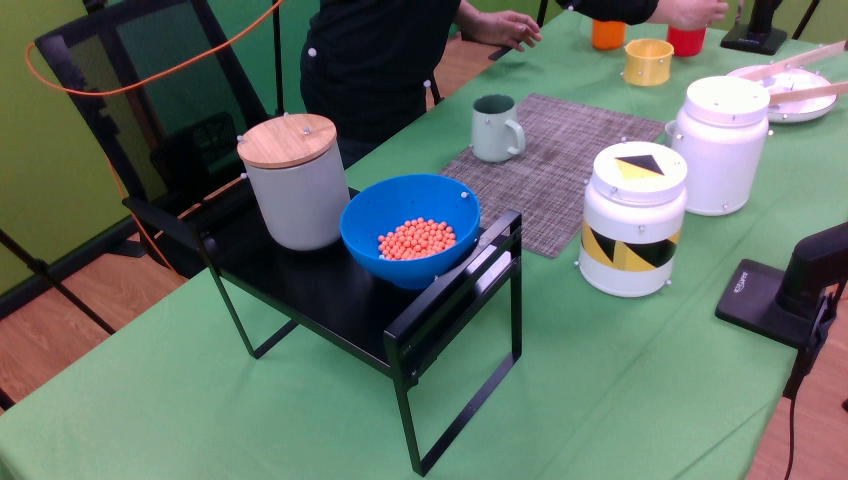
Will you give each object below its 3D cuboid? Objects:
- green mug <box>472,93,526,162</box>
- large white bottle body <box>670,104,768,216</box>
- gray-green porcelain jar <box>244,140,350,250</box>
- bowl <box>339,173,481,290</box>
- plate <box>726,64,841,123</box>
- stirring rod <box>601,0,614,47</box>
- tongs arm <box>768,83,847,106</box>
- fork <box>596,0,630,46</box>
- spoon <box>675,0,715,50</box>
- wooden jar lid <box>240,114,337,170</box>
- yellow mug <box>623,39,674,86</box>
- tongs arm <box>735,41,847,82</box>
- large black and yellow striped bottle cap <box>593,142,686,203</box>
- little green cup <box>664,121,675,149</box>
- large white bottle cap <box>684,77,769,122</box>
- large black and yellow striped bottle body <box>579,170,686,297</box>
[{"bbox_3d":[0.144,-0.202,1.122,0.093,0.105,0.124,-29,45,-23],"label":"green mug"},{"bbox_3d":[0.458,-0.146,0.952,0.130,0.185,0.130,-4,40,4],"label":"large white bottle body"},{"bbox_3d":[-0.144,-0.060,0.714,0.106,0.127,0.105,-4,41,4],"label":"gray-green porcelain jar"},{"bbox_3d":[-0.011,0.001,0.660,0.151,0.077,0.150,-5,41,5],"label":"bowl"},{"bbox_3d":[0.695,-0.282,1.189,0.207,0.039,0.206,-4,40,4],"label":"plate"},{"bbox_3d":[0.439,-0.552,1.463,0.014,0.006,0.175,-7,83,2],"label":"stirring rod"},{"bbox_3d":[0.738,-0.282,1.134,0.388,0.028,0.028,-9,47,-5],"label":"tongs arm"},{"bbox_3d":[0.481,-0.556,1.452,0.028,0.019,0.207,40,103,38],"label":"fork"},{"bbox_3d":[0.619,-0.501,1.337,0.021,0.194,0.041,23,50,0],"label":"spoon"},{"bbox_3d":[-0.149,-0.106,0.674,0.108,0.021,0.108,-6,39,5],"label":"wooden jar lid"},{"bbox_3d":[0.485,-0.398,1.334,0.100,0.064,0.130,-18,41,-10],"label":"yellow mug"},{"bbox_3d":[0.712,-0.332,1.194,0.386,0.026,0.050,-18,45,-16],"label":"tongs arm"},{"bbox_3d":[0.280,-0.090,0.786,0.115,0.019,0.114,-5,41,5],"label":"large black and yellow striped bottle cap"},{"bbox_3d":[0.472,-0.188,1.113,0.061,0.039,0.061,-5,40,4],"label":"little green cup"},{"bbox_3d":[0.448,-0.209,0.898,0.115,0.018,0.114,-4,40,4],"label":"large white bottle cap"},{"bbox_3d":[0.287,-0.027,0.841,0.131,0.185,0.130,-4,40,4],"label":"large black and yellow striped bottle body"}]
